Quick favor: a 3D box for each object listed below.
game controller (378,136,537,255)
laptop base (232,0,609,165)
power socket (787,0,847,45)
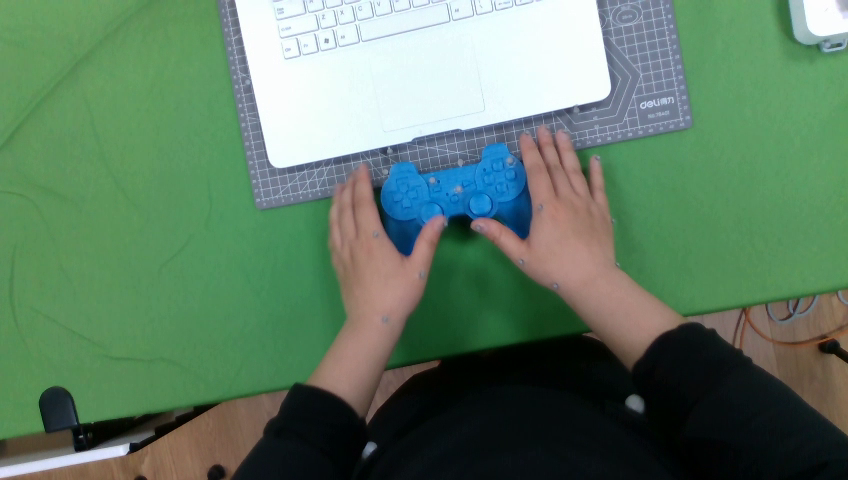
[{"bbox_3d":[0.030,-0.044,0.598,0.155,0.051,0.097,-11,89,5],"label":"game controller"},{"bbox_3d":[-0.012,-0.225,0.608,0.354,0.023,0.235,-12,95,6],"label":"laptop base"},{"bbox_3d":[0.368,-0.299,0.560,0.072,0.032,0.226,-9,92,7],"label":"power socket"}]
